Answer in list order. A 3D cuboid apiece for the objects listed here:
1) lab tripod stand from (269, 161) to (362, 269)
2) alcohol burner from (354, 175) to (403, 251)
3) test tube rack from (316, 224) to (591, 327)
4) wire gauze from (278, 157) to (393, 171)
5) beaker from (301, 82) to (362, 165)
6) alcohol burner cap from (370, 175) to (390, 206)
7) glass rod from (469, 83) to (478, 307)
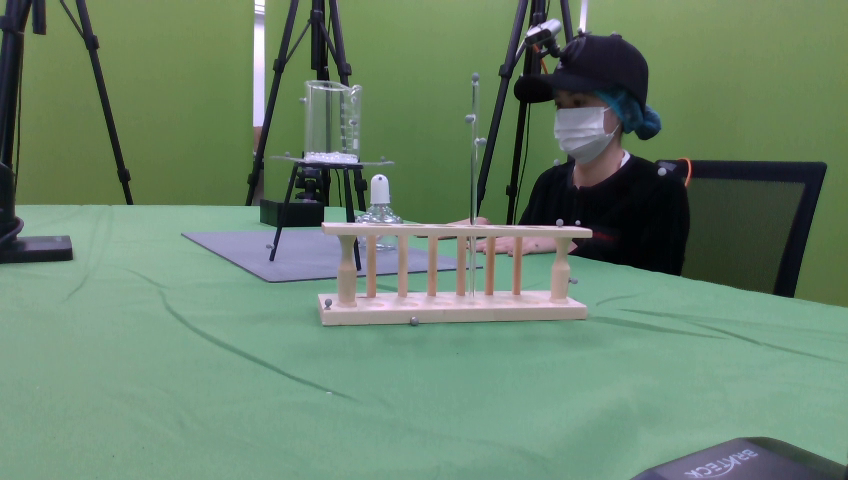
[{"bbox_3d":[-0.125,-0.036,0.794,0.148,0.131,0.148,5,7,0],"label":"lab tripod stand"},{"bbox_3d":[-0.072,-0.042,0.944,0.078,0.119,0.078,1,9,0],"label":"alcohol burner"},{"bbox_3d":[0.026,0.028,0.555,0.243,0.085,0.066,1,7,-14],"label":"test tube rack"},{"bbox_3d":[-0.122,-0.100,0.786,0.122,0.011,0.124,-5,14,-38],"label":"wire gauze"},{"bbox_3d":[-0.117,-0.147,0.776,0.074,0.100,0.083,-3,10,-38],"label":"beaker"},{"bbox_3d":[-0.069,-0.077,0.940,0.034,0.048,0.034,-1,6,0],"label":"alcohol burner cap"},{"bbox_3d":[0.043,-0.033,0.523,0.008,0.199,0.008,-1,14,1],"label":"glass rod"}]
